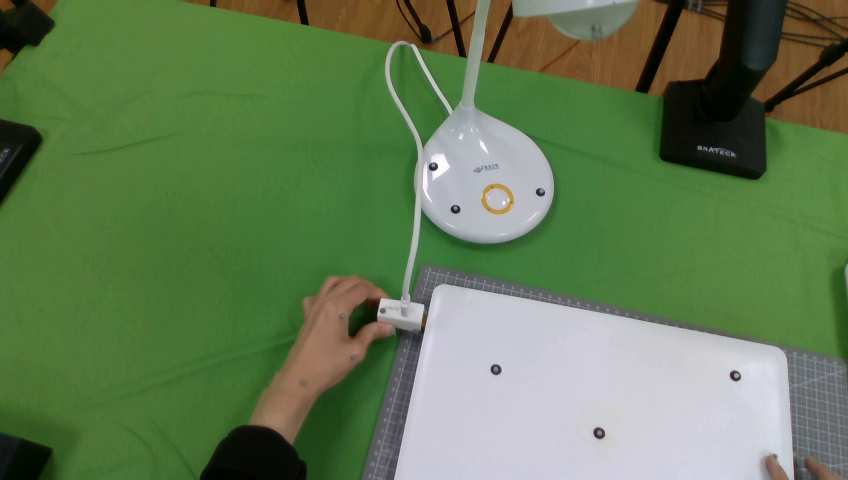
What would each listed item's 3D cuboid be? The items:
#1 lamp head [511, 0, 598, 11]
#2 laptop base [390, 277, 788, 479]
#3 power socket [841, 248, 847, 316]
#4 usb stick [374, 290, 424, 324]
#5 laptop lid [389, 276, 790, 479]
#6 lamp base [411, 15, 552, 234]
[{"bbox_3d":[0.097,-0.204,0.353,0.112,0.111,0.123,-16,108,-9],"label":"lamp head"},{"bbox_3d":[0.158,0.173,0.569,0.354,0.023,0.234,10,67,3],"label":"laptop base"},{"bbox_3d":[0.470,0.104,0.605,0.072,0.033,0.225,11,63,2],"label":"power socket"},{"bbox_3d":[-0.019,0.068,0.601,0.059,0.027,0.021,11,58,-2],"label":"usb stick"},{"bbox_3d":[0.157,0.169,0.557,0.356,0.013,0.240,12,66,4],"label":"laptop lid"},{"bbox_3d":[0.061,-0.122,0.623,0.161,0.181,0.177,-23,63,-13],"label":"lamp base"}]
